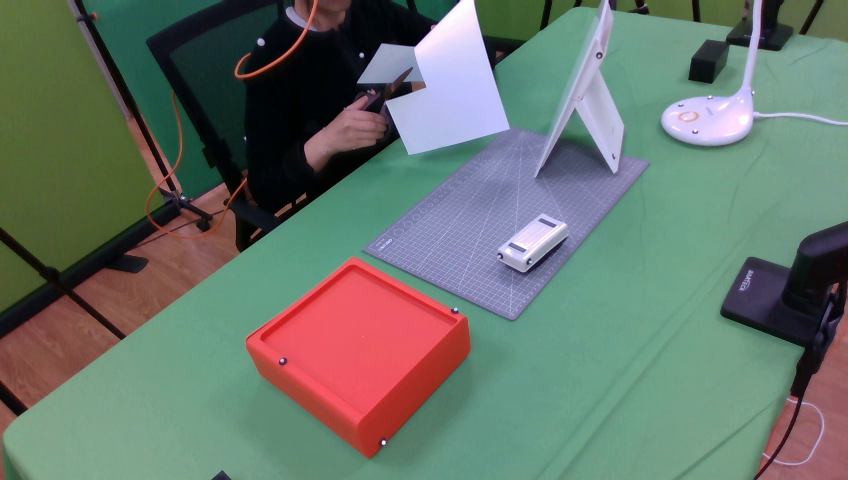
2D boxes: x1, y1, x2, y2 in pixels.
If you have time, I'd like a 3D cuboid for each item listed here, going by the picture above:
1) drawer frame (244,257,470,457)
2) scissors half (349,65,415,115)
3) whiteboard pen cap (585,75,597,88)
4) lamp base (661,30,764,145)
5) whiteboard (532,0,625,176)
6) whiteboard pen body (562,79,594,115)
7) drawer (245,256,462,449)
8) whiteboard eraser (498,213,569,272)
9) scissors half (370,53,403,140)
[{"bbox_3d":[-0.084,0.138,0.788,0.212,0.083,0.202,25,50,33],"label":"drawer frame"},{"bbox_3d":[-0.082,-0.289,1.153,0.174,0.040,0.013,-21,2,35],"label":"scissors half"},{"bbox_3d":[0.362,-0.343,1.310,0.018,0.018,0.033,20,54,29],"label":"whiteboard pen cap"},{"bbox_3d":[0.535,-0.287,1.096,0.179,0.181,0.159,-10,40,-4],"label":"lamp base"},{"bbox_3d":[0.320,-0.259,1.050,0.144,0.306,0.217,21,45,5],"label":"whiteboard"},{"bbox_3d":[0.328,-0.306,1.278,0.017,0.017,0.141,20,52,30],"label":"whiteboard pen body"},{"bbox_3d":[-0.089,0.136,0.792,0.210,0.073,0.195,27,51,34],"label":"drawer"},{"bbox_3d":[0.168,0.006,0.923,0.113,0.042,0.055,-36,48,-28],"label":"whiteboard eraser"},{"bbox_3d":[-0.066,-0.270,1.149,0.040,0.175,0.013,28,28,18],"label":"scissors half"}]
